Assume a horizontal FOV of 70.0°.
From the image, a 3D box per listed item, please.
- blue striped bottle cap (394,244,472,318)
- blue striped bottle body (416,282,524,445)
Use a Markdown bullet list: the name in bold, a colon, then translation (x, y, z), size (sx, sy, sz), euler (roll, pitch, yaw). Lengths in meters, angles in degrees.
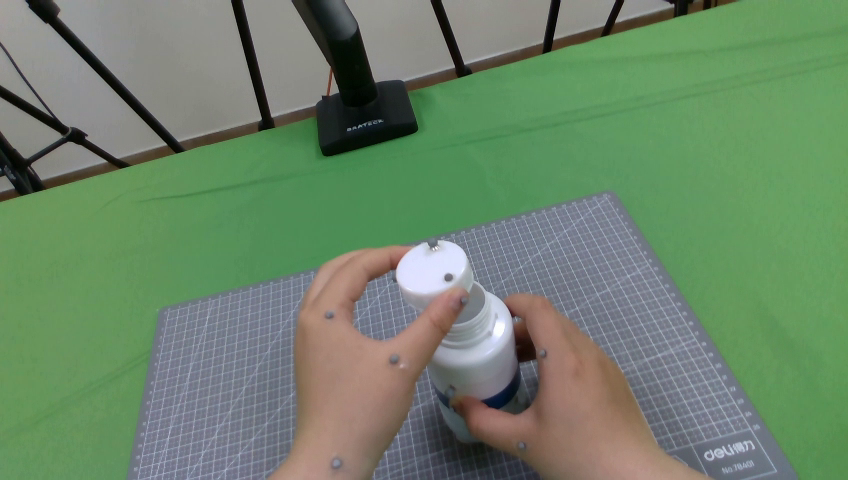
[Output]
- **blue striped bottle cap**: translation (0.005, 0.023, 0.356), size (0.044, 0.021, 0.044), euler (-8, 41, 8)
- **blue striped bottle body**: translation (0.031, 0.080, 0.404), size (0.063, 0.122, 0.062), euler (-7, 43, 7)
